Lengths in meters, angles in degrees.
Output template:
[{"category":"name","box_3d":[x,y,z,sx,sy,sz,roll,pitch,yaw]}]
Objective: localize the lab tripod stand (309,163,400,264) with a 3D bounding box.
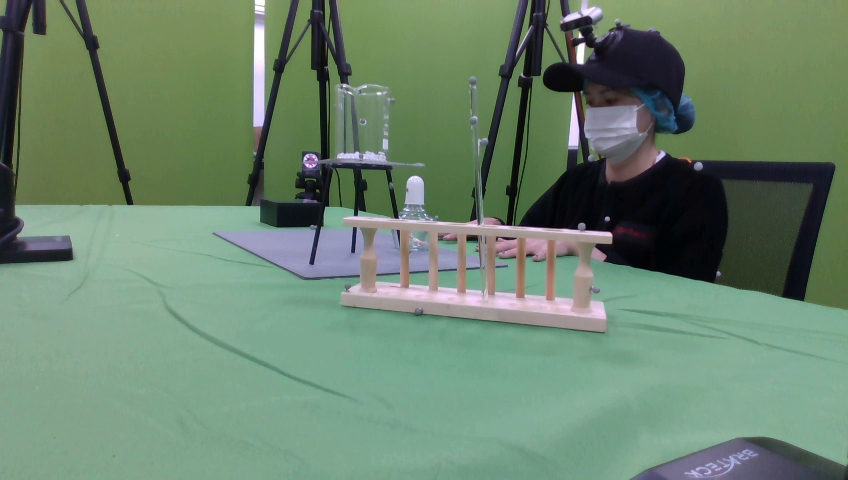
[{"category":"lab tripod stand","box_3d":[-0.091,-0.037,0.813,0.148,0.131,0.148,1,6,0]}]

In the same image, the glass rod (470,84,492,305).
[{"category":"glass rod","box_3d":[0.051,-0.036,0.535,0.008,0.199,0.008,-5,10,1]}]

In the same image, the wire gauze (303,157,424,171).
[{"category":"wire gauze","box_3d":[-0.082,-0.101,0.799,0.126,0.011,0.121,1,7,-30]}]

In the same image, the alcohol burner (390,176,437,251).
[{"category":"alcohol burner","box_3d":[-0.016,-0.042,0.955,0.078,0.119,0.078,4,5,0]}]

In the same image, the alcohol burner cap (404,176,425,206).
[{"category":"alcohol burner cap","box_3d":[-0.015,-0.077,0.951,0.034,0.048,0.034,3,4,0]}]

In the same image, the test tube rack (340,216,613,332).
[{"category":"test tube rack","box_3d":[0.048,0.026,0.568,0.242,0.085,0.067,4,8,13]}]

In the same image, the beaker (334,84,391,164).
[{"category":"beaker","box_3d":[-0.082,-0.149,0.791,0.074,0.100,0.084,2,5,4]}]
